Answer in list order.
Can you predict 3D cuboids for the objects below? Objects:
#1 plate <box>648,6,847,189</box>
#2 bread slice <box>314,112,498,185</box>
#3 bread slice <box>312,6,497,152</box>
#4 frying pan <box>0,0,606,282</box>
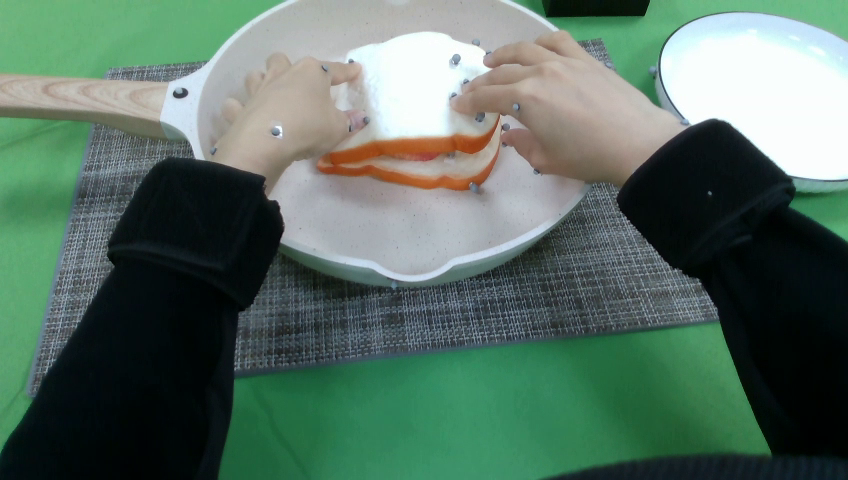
[{"bbox_3d":[0.291,-0.120,0.514,0.208,0.039,0.205,1,56,-2],"label":"plate"},{"bbox_3d":[-0.009,-0.088,0.482,0.134,0.018,0.106,6,56,3],"label":"bread slice"},{"bbox_3d":[-0.010,-0.118,0.446,0.132,0.019,0.104,8,70,-11],"label":"bread slice"},{"bbox_3d":[-0.121,-0.094,0.433,0.489,0.103,0.303,4,54,-10],"label":"frying pan"}]
